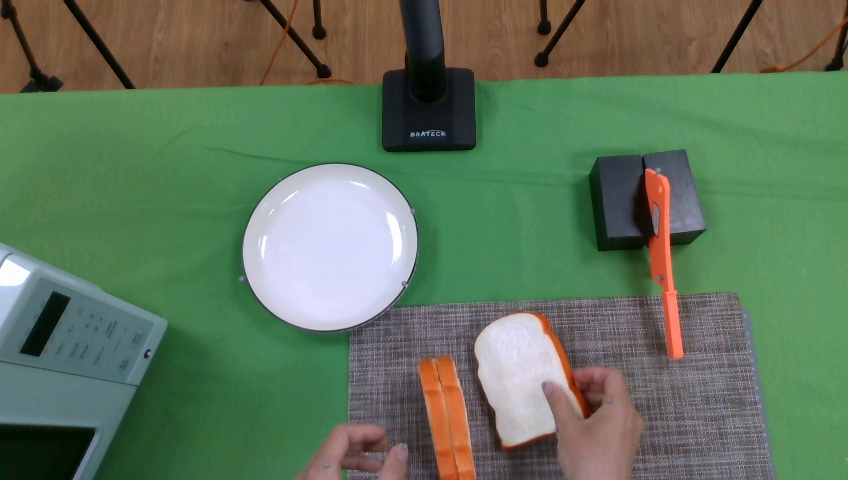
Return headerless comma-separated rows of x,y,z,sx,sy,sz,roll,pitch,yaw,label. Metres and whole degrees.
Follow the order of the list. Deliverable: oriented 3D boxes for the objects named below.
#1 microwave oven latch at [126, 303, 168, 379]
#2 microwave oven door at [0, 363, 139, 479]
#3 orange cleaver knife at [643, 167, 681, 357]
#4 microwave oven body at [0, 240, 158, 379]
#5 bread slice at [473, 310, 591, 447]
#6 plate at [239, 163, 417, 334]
-0.316,0.113,0.675,0.030,0.029,0.079,21,75,8,microwave oven latch
-0.400,0.277,0.520,0.039,0.245,0.354,19,74,9,microwave oven door
0.262,0.022,0.675,0.012,0.077,0.211,-6,93,3,orange cleaver knife
-0.522,0.194,0.556,0.325,0.261,0.440,19,75,8,microwave oven body
0.107,0.143,0.646,0.107,0.018,0.133,-24,71,27,bread slice
-0.110,0.010,0.718,0.207,0.039,0.206,0,72,2,plate
